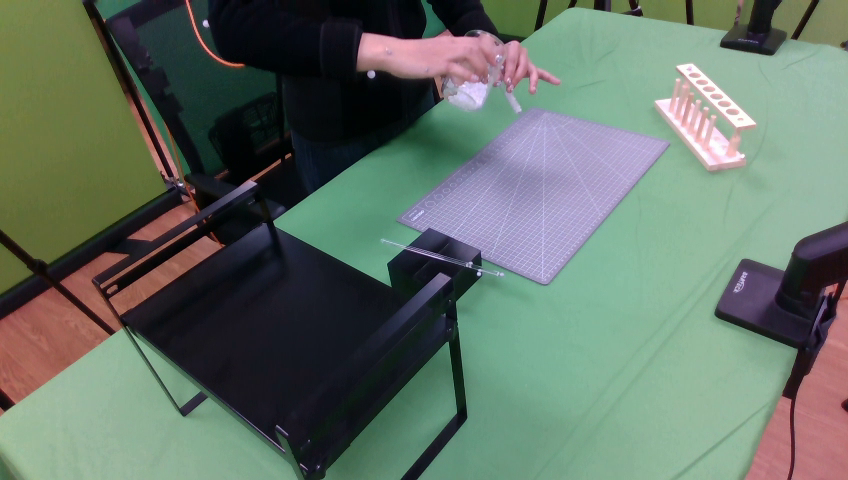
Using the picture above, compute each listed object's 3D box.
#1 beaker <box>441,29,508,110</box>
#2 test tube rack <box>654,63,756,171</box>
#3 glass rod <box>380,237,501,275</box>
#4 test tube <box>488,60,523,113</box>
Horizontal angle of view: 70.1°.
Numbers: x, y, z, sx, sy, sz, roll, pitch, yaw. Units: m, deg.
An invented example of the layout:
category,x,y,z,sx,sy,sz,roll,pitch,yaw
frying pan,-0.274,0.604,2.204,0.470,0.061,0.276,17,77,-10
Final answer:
category,x,y,z,sx,sy,sz,roll,pitch,yaw
beaker,0.076,-0.257,0.929,0.073,0.084,0.100,20,77,26
test tube rack,0.510,-0.234,1.120,0.067,0.085,0.241,-8,41,-1
glass rod,0.020,0.023,0.881,0.198,0.008,0.008,16,46,25
test tube,0.142,-0.260,1.034,0.017,0.151,0.017,-9,67,24
